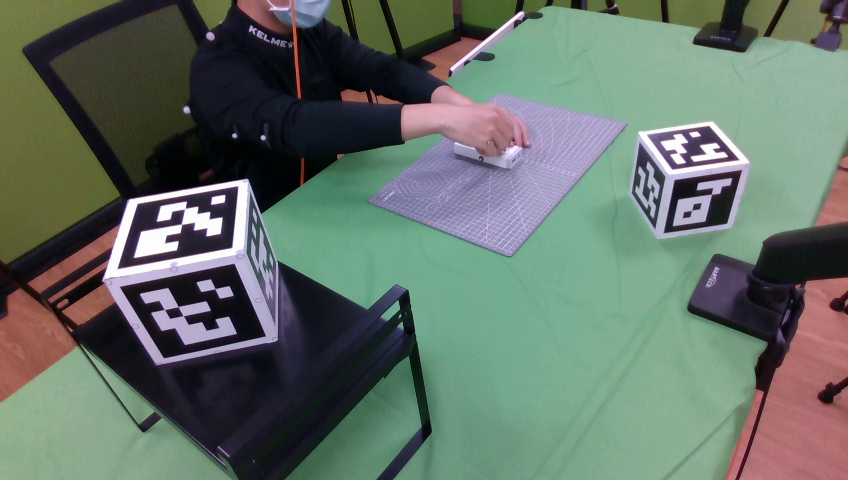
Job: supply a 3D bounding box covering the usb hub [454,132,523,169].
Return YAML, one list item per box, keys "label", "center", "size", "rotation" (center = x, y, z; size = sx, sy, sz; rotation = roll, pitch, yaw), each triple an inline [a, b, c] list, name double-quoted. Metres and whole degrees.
- label: "usb hub"
  center: [0.121, -0.170, 1.144]
  size: [0.124, 0.025, 0.049]
  rotation: [22, 48, 29]

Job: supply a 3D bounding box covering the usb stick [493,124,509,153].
- label: "usb stick"
  center: [0.142, -0.181, 1.109]
  size: [0.021, 0.059, 0.027]
  rotation: [20, 50, 27]
